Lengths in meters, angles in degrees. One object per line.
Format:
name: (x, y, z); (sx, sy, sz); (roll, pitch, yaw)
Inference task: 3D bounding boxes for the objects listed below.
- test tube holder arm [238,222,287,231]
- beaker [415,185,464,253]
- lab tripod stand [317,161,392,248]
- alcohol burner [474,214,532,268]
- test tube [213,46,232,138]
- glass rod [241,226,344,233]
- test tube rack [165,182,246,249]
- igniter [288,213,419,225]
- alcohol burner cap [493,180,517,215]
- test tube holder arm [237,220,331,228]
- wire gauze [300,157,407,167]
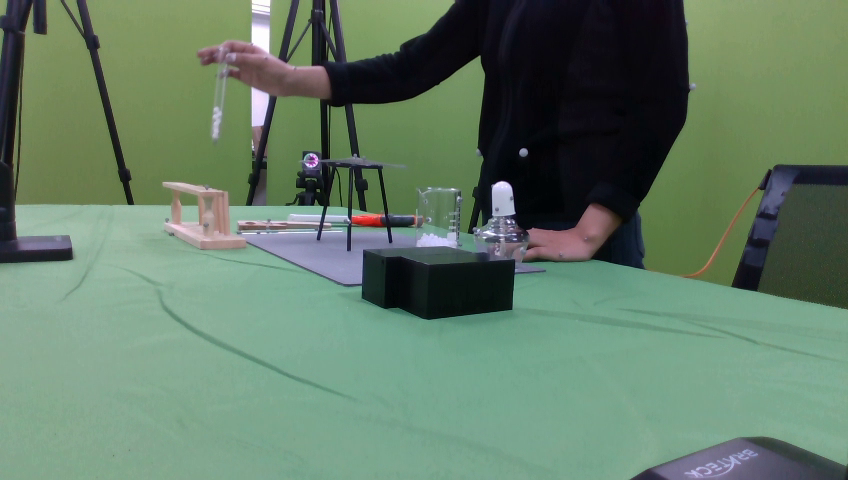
test tube holder arm: (-0.297, -0.024, 1.113); (0.088, 0.015, 0.010); (-2, 42, -32)
beaker: (0.020, -0.033, 0.938); (0.073, 0.100, 0.084); (7, 9, 36)
lab tripod stand: (-0.111, -0.059, 0.963); (0.148, 0.131, 0.148); (4, 8, 0)
alcohol burner: (0.107, -0.022, 0.819); (0.078, 0.119, 0.078); (1, 9, 0)
test tube: (-0.334, -0.244, 1.002); (0.017, 0.150, 0.017); (8, 4, 0)
glass rod: (-0.239, -0.019, 1.119); (0.201, 0.008, 0.008); (-3, 9, -34)
test tube rack: (-0.360, -0.045, 0.982); (0.067, 0.085, 0.241); (-3, 9, -34)
igniter: (-0.145, -0.044, 1.278); (0.278, 0.025, 0.057); (-1, -2, -21)
alcohol burner cap: (0.107, -0.057, 0.812); (0.034, 0.048, 0.034); (-7, 11, 2)
test tube holder arm: (-0.261, -0.029, 1.141); (0.179, 0.015, 0.013); (-2, 42, -33)
wire gauze: (-0.112, -0.126, 0.959); (0.121, 0.011, 0.126); (11, 11, 41)
